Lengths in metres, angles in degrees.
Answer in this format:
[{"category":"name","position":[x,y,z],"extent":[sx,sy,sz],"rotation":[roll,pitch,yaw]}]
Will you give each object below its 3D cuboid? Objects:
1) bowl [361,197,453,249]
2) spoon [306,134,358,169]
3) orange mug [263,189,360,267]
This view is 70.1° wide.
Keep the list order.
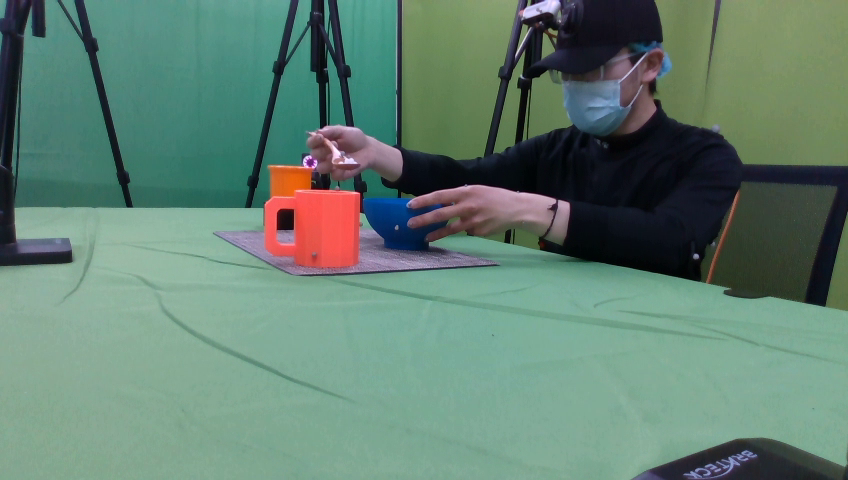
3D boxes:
[{"category":"bowl","position":[-0.028,-0.028,0.991],"extent":[0.151,0.077,0.151],"rotation":[2,7,0]},{"category":"spoon","position":[-0.152,-0.149,0.974],"extent":[0.022,0.041,0.193],"rotation":[-24,28,-20]},{"category":"orange mug","position":[-0.147,-0.019,0.794],"extent":[0.127,0.100,0.083],"rotation":[5,6,-19]}]
